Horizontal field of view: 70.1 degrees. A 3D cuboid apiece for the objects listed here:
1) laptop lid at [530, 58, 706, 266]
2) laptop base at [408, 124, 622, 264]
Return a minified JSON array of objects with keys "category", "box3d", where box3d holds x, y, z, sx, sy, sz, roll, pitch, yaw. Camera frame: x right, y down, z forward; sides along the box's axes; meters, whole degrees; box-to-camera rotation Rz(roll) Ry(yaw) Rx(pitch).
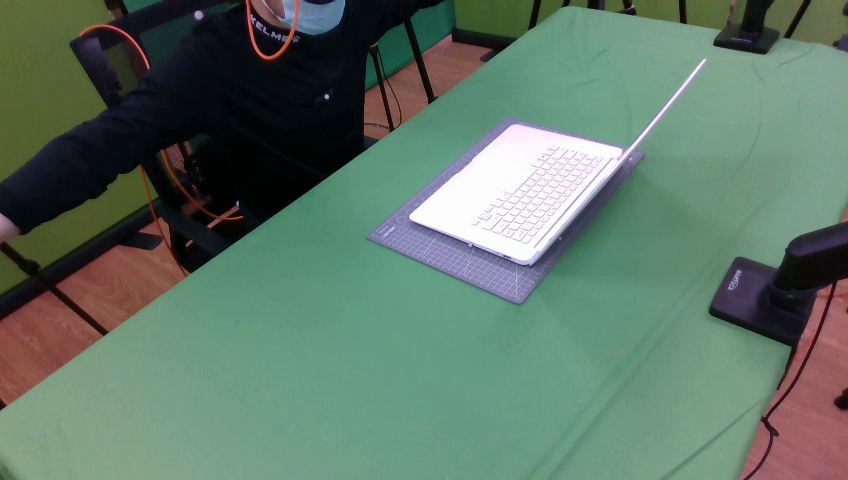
[{"category":"laptop lid","box3d":[0.293,-0.118,0.905,0.013,0.241,0.357,40,53,9]},{"category":"laptop base","box3d":[0.168,-0.095,1.056,0.233,0.023,0.355,20,47,33]}]
